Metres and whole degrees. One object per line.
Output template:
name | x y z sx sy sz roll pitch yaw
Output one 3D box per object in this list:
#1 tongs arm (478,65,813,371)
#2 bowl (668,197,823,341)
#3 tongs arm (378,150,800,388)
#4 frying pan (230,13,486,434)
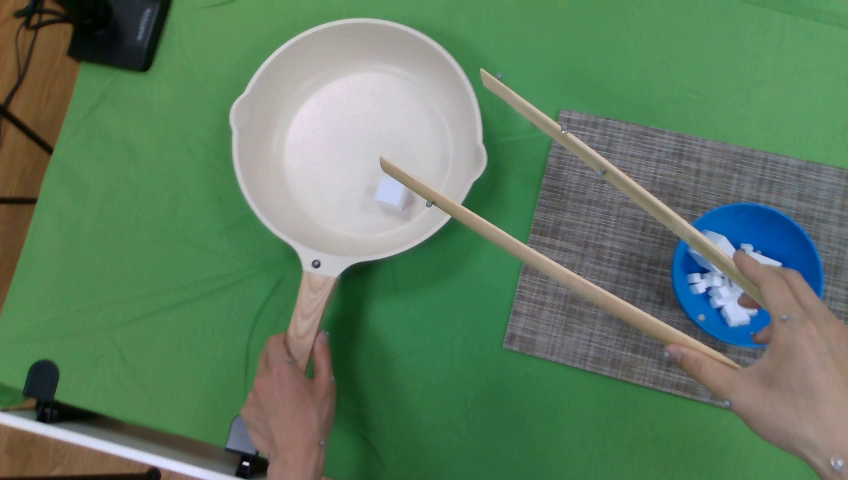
tongs arm | 0.160 -0.038 0.520 0.051 0.027 0.381 -39 61 -12
bowl | 0.335 0.035 0.659 0.151 0.077 0.151 -1 82 5
tongs arm | 0.106 0.012 0.504 0.384 0.028 0.028 32 67 25
frying pan | -0.104 -0.024 0.698 0.306 0.103 0.485 14 75 8
